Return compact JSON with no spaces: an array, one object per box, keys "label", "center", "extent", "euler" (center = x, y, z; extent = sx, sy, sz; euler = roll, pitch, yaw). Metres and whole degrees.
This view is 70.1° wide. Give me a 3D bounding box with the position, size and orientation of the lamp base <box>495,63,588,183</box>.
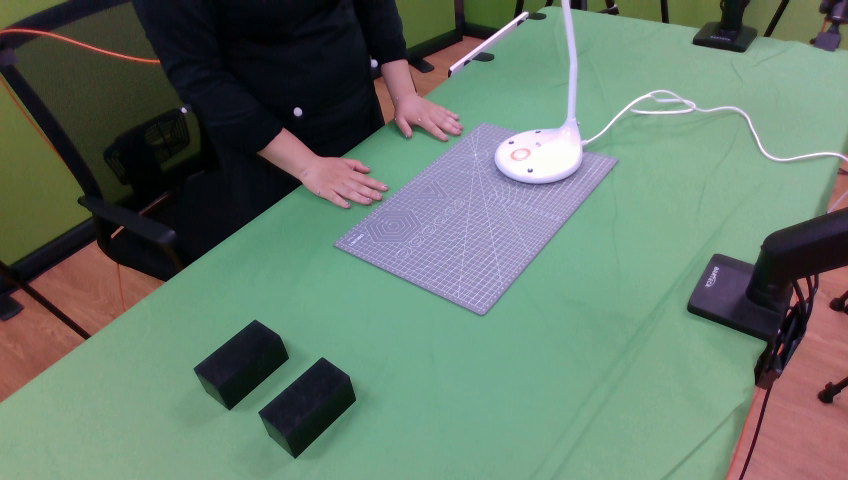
[{"label":"lamp base","center":[0.214,-0.217,1.067],"extent":[0.180,0.181,0.159],"euler":[-20,42,-18]}]
